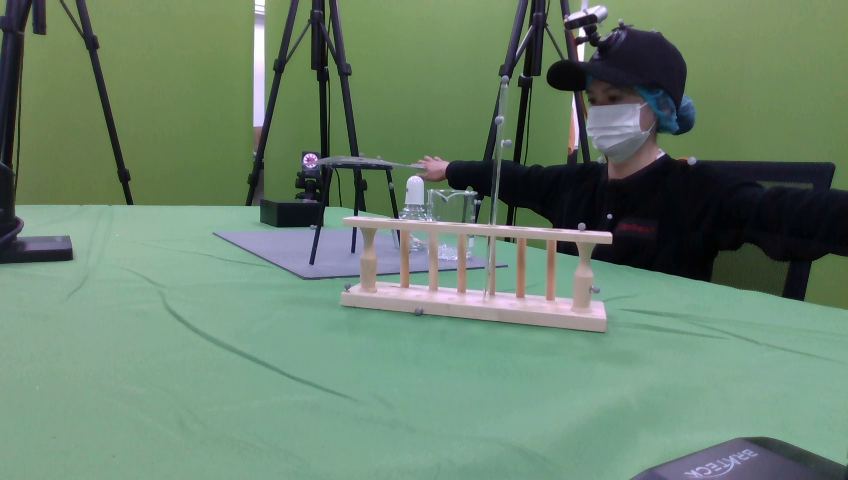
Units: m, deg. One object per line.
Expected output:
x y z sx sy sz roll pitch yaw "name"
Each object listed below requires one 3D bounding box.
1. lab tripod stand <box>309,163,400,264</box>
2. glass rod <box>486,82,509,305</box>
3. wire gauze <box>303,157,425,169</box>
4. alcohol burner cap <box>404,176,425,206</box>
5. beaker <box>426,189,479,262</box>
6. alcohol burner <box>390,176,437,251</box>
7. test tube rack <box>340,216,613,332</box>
-0.091 -0.037 0.813 0.148 0.131 0.148 1 6 0 "lab tripod stand"
0.063 -0.035 0.528 0.008 0.199 0.008 2 13 0 "glass rod"
-0.082 -0.102 0.799 0.126 0.011 0.121 -1 7 -30 "wire gauze"
-0.015 -0.077 0.951 0.034 0.048 0.034 3 4 0 "alcohol burner cap"
0.039 -0.022 0.871 0.074 0.100 0.084 4 8 12 "beaker"
-0.016 -0.042 0.955 0.078 0.119 0.078 4 5 0 "alcohol burner"
0.048 0.026 0.568 0.242 0.085 0.067 4 8 13 "test tube rack"
